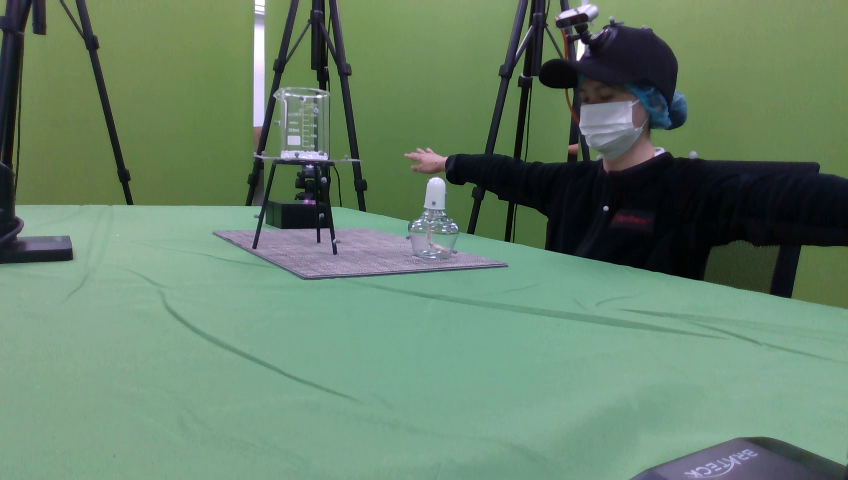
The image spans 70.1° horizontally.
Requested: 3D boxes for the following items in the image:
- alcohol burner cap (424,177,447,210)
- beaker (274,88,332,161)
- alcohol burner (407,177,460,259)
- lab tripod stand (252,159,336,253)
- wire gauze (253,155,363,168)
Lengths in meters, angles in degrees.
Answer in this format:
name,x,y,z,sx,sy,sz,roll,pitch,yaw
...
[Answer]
name,x,y,z,sx,sy,sz,roll,pitch,yaw
alcohol burner cap,0.018,-0.067,0.876,0.034,0.048,0.034,4,13,-1
beaker,-0.177,-0.165,0.879,0.084,0.100,0.074,2,5,1
alcohol burner,0.015,-0.032,0.882,0.078,0.119,0.078,3,5,0
lab tripod stand,-0.180,-0.053,0.900,0.148,0.131,0.148,1,6,0
wire gauze,-0.172,-0.117,0.891,0.122,0.011,0.124,0,3,-38
